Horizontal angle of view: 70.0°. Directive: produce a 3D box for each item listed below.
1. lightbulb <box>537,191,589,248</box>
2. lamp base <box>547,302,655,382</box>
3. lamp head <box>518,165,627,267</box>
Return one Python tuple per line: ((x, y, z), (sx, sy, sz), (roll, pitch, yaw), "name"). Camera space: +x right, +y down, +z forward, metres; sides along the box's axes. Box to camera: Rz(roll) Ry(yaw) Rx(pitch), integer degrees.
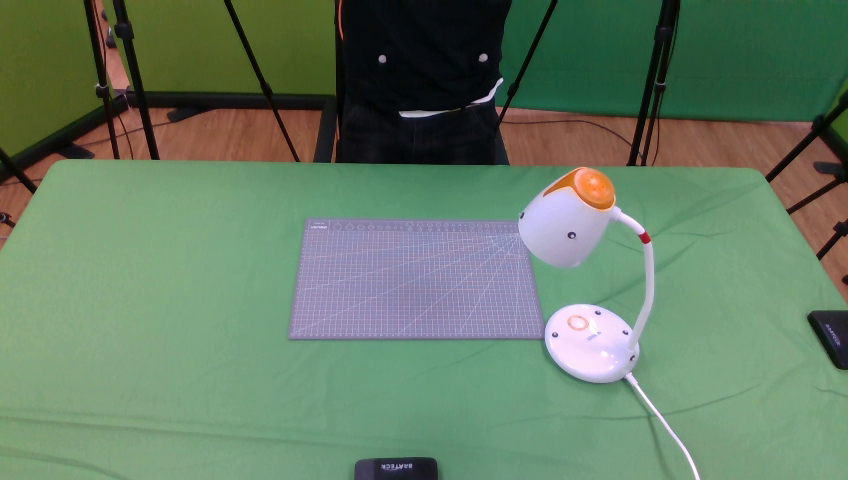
((0.193, -0.031, 0.826), (0.059, 0.108, 0.059), (7, 59, -11), "lightbulb")
((0.303, 0.127, 0.982), (0.160, 0.181, 0.178), (-33, 59, -29), "lamp base")
((0.202, -0.037, 0.803), (0.113, 0.123, 0.112), (12, 55, -18), "lamp head")
